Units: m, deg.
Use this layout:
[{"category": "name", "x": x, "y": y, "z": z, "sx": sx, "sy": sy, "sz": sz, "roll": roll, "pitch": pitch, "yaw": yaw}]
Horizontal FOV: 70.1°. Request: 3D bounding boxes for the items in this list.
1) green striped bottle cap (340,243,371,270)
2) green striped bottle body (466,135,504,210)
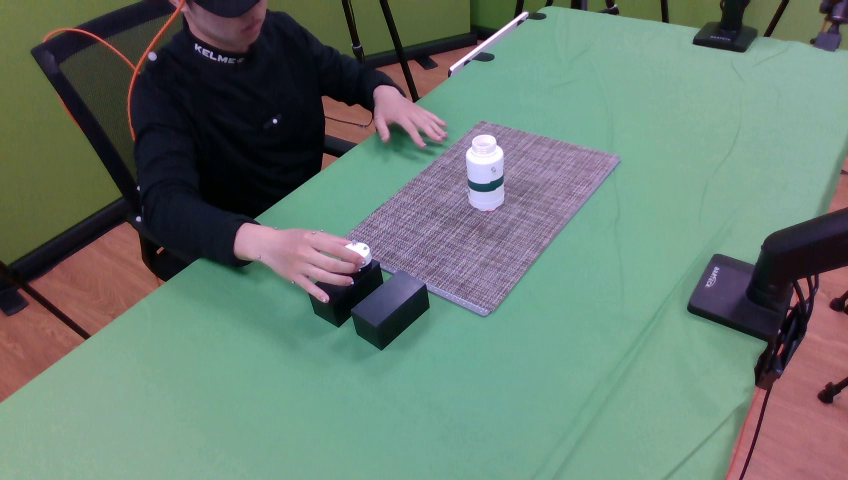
[{"category": "green striped bottle cap", "x": -0.100, "y": 0.024, "z": 0.872, "sx": 0.044, "sy": 0.020, "sz": 0.044, "roll": -5, "pitch": 36, "yaw": 4}, {"category": "green striped bottle body", "x": 0.102, "y": -0.114, "z": 1.006, "sx": 0.063, "sy": 0.120, "sz": 0.063, "roll": -4, "pitch": 41, "yaw": 4}]
